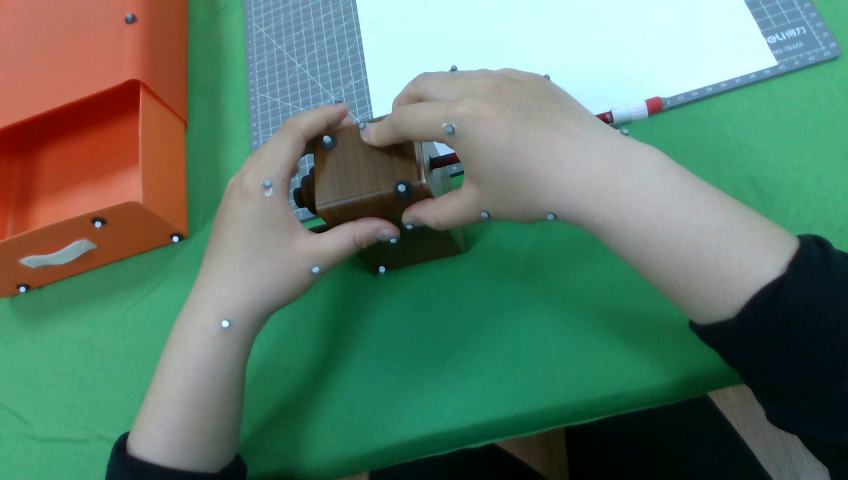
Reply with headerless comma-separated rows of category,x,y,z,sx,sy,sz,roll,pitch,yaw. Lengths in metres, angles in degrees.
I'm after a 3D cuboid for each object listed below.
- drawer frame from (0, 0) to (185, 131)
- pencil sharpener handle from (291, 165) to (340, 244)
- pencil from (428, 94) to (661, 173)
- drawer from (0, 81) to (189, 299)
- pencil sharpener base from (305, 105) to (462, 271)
drawer frame,-0.337,-0.177,0.585,0.201,0.083,0.211,-17,63,10
pencil sharpener handle,-0.077,-0.020,0.408,0.030,0.068,0.035,-14,55,12
pencil,0.045,-0.056,0.369,0.194,0.012,0.012,-15,63,9
drawer,-0.313,-0.074,0.536,0.194,0.074,0.210,-18,62,10
pencil sharpener base,-0.025,-0.029,0.410,0.076,0.108,0.061,-14,63,12
